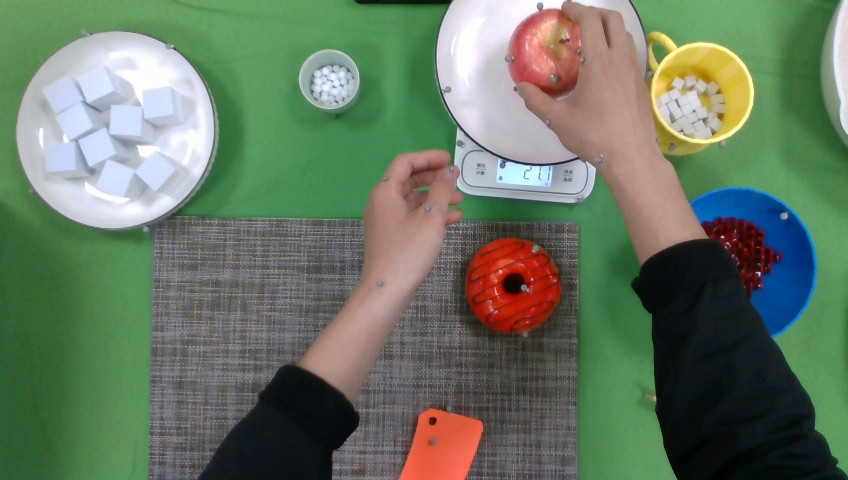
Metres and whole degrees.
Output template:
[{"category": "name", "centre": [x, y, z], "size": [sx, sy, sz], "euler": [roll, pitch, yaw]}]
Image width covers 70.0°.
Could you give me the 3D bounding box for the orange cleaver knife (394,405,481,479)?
[{"category": "orange cleaver knife", "centre": [-0.014, 0.267, 0.627], "size": [0.077, 0.012, 0.211], "euler": [30, 87, -4]}]

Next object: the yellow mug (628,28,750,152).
[{"category": "yellow mug", "centre": [0.257, -0.158, 0.615], "size": [0.100, 0.064, 0.130], "euler": [-32, 88, 1]}]

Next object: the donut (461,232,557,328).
[{"category": "donut", "centre": [0.086, 0.041, 0.619], "size": [0.099, 0.048, 0.099], "euler": [0, 90, 0]}]

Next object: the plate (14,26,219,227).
[{"category": "plate", "centre": [-0.315, -0.115, 0.634], "size": [0.208, 0.039, 0.207], "euler": [0, 88, 1]}]

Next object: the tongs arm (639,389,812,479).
[{"category": "tongs arm", "centre": [0.391, 0.258, 0.624], "size": [0.387, 0.028, 0.028], "euler": [31, 81, 1]}]

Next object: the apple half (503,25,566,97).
[{"category": "apple half", "centre": [0.096, -0.158, 0.569], "size": [0.033, 0.081, 0.081], "euler": [-41, 88, -3]}]

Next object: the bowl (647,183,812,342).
[{"category": "bowl", "centre": [0.289, 0.022, 0.605], "size": [0.151, 0.077, 0.151], "euler": [0, 89, 1]}]

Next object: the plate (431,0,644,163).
[{"category": "plate", "centre": [0.110, -0.178, 0.602], "size": [0.209, 0.038, 0.209], "euler": [0, 89, 0]}]

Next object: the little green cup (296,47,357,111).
[{"category": "little green cup", "centre": [-0.099, -0.166, 0.633], "size": [0.061, 0.038, 0.061], "euler": [0, 88, 1]}]

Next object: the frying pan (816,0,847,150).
[{"category": "frying pan", "centre": [0.579, -0.086, 0.591], "size": [0.307, 0.103, 0.485], "euler": [-26, 81, 1]}]

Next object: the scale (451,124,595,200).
[{"category": "scale", "centre": [0.109, -0.147, 0.634], "size": [0.149, 0.031, 0.200], "euler": [5, 89, 1]}]

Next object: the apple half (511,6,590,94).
[{"category": "apple half", "centre": [0.124, -0.184, 0.571], "size": [0.053, 0.075, 0.080], "euler": [-42, 85, -4]}]
